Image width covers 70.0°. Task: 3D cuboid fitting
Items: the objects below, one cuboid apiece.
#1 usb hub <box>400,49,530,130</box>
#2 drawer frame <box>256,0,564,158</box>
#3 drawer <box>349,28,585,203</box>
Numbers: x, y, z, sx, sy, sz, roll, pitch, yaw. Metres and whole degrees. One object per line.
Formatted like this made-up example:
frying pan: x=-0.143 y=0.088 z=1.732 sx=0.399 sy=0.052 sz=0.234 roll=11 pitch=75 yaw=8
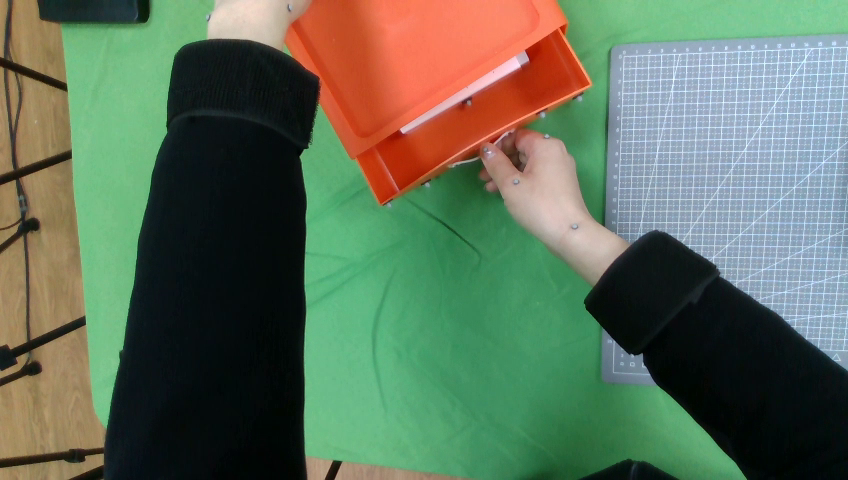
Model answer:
usb hub: x=0.024 y=-0.147 z=0.517 sx=0.125 sy=0.025 sz=0.049 roll=-29 pitch=94 yaw=16
drawer frame: x=-0.026 y=-0.207 z=0.495 sx=0.201 sy=0.082 sz=0.214 roll=-30 pitch=93 yaw=15
drawer: x=-0.003 y=-0.167 z=0.503 sx=0.194 sy=0.073 sz=0.212 roll=-28 pitch=93 yaw=15
